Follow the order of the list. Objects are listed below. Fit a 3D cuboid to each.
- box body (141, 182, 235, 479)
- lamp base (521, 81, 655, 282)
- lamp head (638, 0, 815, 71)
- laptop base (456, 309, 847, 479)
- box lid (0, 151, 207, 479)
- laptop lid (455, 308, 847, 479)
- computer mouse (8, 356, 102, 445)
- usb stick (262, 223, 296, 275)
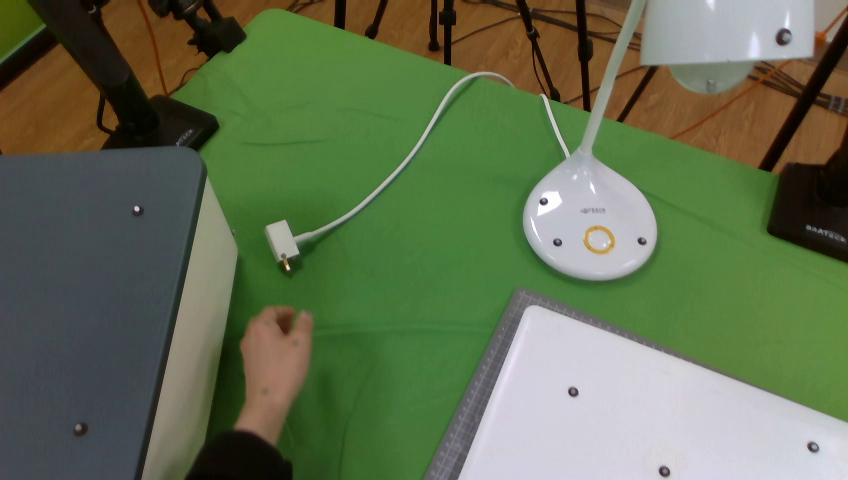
[{"bbox_3d":[-0.343,0.109,0.584,0.254,0.162,0.360,-1,57,0],"label":"box body"},{"bbox_3d":[0.193,-0.072,0.679,0.161,0.182,0.177,-11,54,-6],"label":"lamp base"},{"bbox_3d":[0.205,-0.177,0.414,0.112,0.112,0.123,-4,101,-1],"label":"lamp head"},{"bbox_3d":[0.225,0.225,0.582,0.353,0.023,0.234,20,63,13],"label":"laptop base"},{"bbox_3d":[-0.344,0.067,0.523,0.263,0.015,0.368,-2,58,0],"label":"box lid"},{"bbox_3d":[0.223,0.220,0.571,0.355,0.013,0.240,21,62,15],"label":"laptop lid"},{"bbox_3d":[-0.373,0.155,0.614,0.063,0.041,0.116,-28,20,-5],"label":"computer mouse"},{"bbox_3d":[-0.170,0.012,0.719,0.027,0.021,0.059,-17,88,-27],"label":"usb stick"}]
